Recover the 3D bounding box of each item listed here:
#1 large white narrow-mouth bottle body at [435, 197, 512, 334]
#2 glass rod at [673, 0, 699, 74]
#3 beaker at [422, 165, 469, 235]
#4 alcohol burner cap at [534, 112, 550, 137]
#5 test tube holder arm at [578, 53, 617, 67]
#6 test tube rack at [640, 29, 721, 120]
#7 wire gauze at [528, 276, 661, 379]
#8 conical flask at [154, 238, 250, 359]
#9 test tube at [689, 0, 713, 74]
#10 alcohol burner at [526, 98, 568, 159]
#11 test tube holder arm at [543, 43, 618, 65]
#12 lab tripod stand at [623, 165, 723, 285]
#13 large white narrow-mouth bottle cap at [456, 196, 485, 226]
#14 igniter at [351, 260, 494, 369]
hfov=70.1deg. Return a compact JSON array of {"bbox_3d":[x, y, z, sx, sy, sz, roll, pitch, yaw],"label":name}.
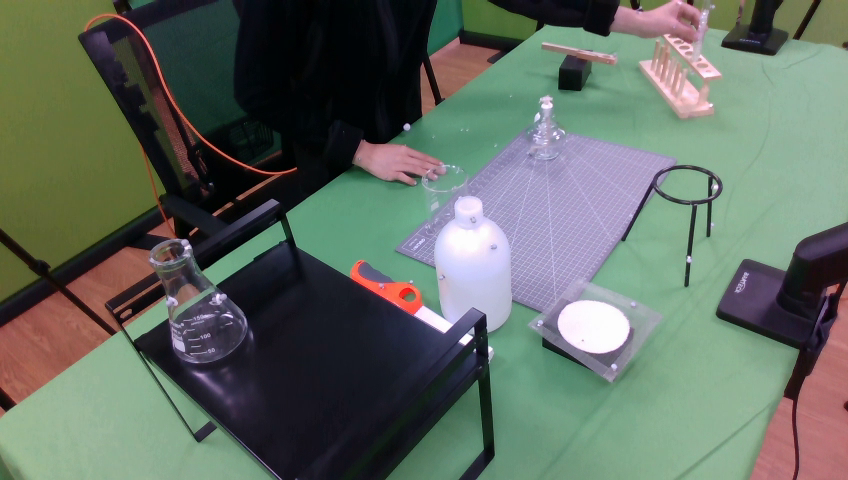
[{"bbox_3d":[0.066,0.028,0.805,0.102,0.195,0.101,-4,40,4],"label":"large white narrow-mouth bottle body"},{"bbox_3d":[0.538,-0.425,1.244,0.008,0.200,0.008,0,47,0],"label":"glass rod"},{"bbox_3d":[0.041,-0.063,0.986,0.073,0.101,0.084,20,47,29],"label":"beaker"},{"bbox_3d":[0.234,-0.231,1.197,0.034,0.048,0.033,-4,39,4],"label":"alcohol burner cap"},{"bbox_3d":[0.376,-0.393,1.314,0.087,0.015,0.010,26,52,32],"label":"test tube holder arm"},{"bbox_3d":[0.527,-0.351,1.262,0.067,0.085,0.241,-8,40,1],"label":"test tube rack"},{"bbox_3d":[0.214,0.103,0.763,0.124,0.011,0.122,30,53,35],"label":"wire gauze"},{"bbox_3d":[-0.225,0.055,0.597,0.075,0.122,0.075,-5,41,4],"label":"conical flask"},{"bbox_3d":[0.534,-0.392,1.167,0.017,0.151,0.017,-4,42,4],"label":"test tube"},{"bbox_3d":[0.228,-0.210,1.118,0.078,0.119,0.077,-5,43,5],"label":"alcohol burner"},{"bbox_3d":[0.345,-0.413,1.340,0.177,0.015,0.013,25,51,31],"label":"test tube holder arm"},{"bbox_3d":[0.366,-0.030,0.874,0.148,0.132,0.147,-6,41,6],"label":"lab tripod stand"},{"bbox_3d":[0.058,-0.036,0.749,0.038,0.024,0.037,-4,40,4],"label":"large white narrow-mouth bottle cap"},{"bbox_3d":[-0.013,0.099,0.864,0.274,0.025,0.057,30,65,36],"label":"igniter"}]
